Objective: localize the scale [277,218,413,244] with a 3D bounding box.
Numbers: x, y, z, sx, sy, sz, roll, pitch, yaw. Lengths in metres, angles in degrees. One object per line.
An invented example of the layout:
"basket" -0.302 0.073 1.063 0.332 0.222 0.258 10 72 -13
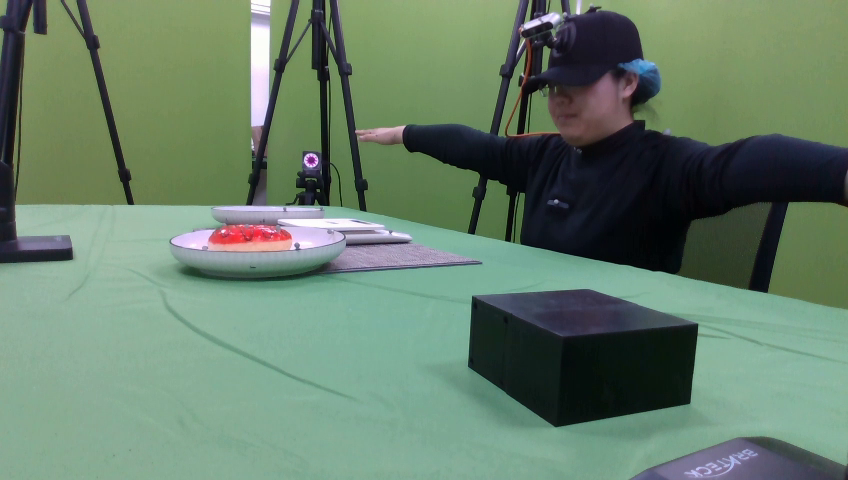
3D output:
"scale" -0.134 -0.016 1.015 0.202 0.031 0.148 -1 9 -33

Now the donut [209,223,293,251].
"donut" -0.210 0.004 0.738 0.099 0.048 0.099 0 8 0

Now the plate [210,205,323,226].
"plate" -0.298 -0.043 1.152 0.208 0.039 0.207 2 5 0

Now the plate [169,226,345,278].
"plate" -0.202 0.014 0.748 0.209 0.038 0.209 1 9 0
